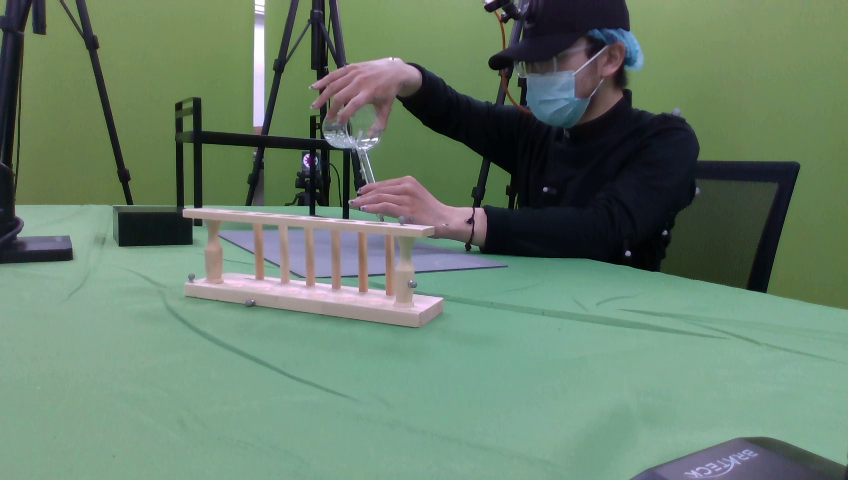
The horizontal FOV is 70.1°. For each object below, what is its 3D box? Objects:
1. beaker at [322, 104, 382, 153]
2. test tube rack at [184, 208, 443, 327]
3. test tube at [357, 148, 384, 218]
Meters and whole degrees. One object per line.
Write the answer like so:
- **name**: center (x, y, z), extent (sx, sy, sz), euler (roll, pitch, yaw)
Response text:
- **beaker**: center (-0.132, -0.198, 1.078), extent (0.074, 0.084, 0.100), euler (2, 7, -36)
- **test tube rack**: center (-0.106, 0.019, 0.570), extent (0.241, 0.085, 0.067), euler (5, 7, 20)
- **test tube**: center (-0.089, -0.096, 1.004), extent (0.017, 0.149, 0.017), euler (-13, -33, -8)
